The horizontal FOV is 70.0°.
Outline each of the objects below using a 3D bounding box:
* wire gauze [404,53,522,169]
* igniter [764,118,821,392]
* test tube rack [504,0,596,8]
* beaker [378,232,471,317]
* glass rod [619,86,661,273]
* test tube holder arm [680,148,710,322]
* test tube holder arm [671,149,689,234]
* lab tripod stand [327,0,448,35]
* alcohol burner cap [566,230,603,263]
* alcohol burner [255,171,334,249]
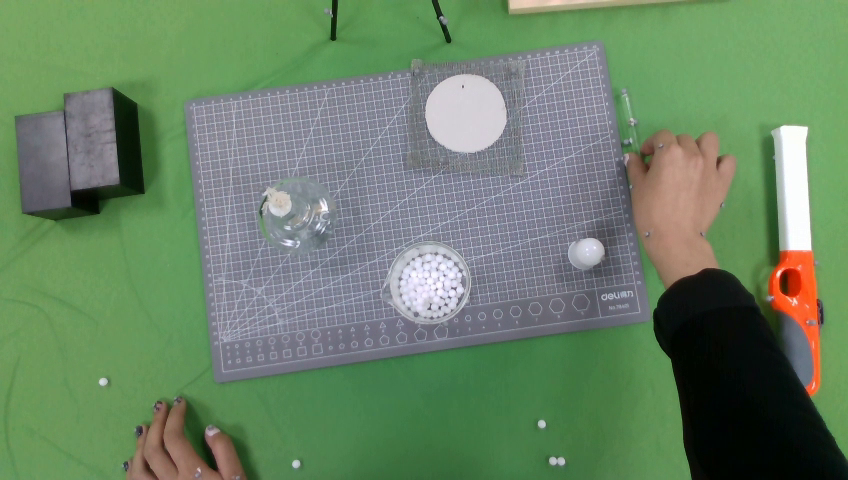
[{"bbox_3d":[0.042,-0.138,0.638,0.125,0.011,0.121,3,86,1],"label":"wire gauze"},{"bbox_3d":[0.370,0.013,0.612,0.057,0.025,0.276,0,86,-9],"label":"igniter"},{"bbox_3d":[0.204,-0.296,0.612,0.242,0.085,0.066,-5,85,1],"label":"test tube rack"},{"bbox_3d":[0.002,0.037,0.579,0.084,0.100,0.074,-16,84,1],"label":"beaker"},{"bbox_3d":[0.225,-0.063,0.631,0.008,0.008,0.199,-11,88,0],"label":"glass rod"},{"bbox_3d":[0.275,-0.005,0.618,0.013,0.015,0.178,-10,83,38],"label":"test tube holder arm"},{"bbox_3d":[0.266,-0.049,0.625,0.010,0.015,0.087,-10,84,38],"label":"test tube holder arm"},{"bbox_3d":[-0.040,-0.262,0.590,0.148,0.131,0.148,0,87,1],"label":"lab tripod stand"},{"bbox_3d":[0.163,0.005,0.607,0.034,0.048,0.034,0,85,2],"label":"alcohol burner cap"},{"bbox_3d":[-0.128,-0.032,0.579,0.078,0.119,0.077,0,84,4],"label":"alcohol burner"}]
